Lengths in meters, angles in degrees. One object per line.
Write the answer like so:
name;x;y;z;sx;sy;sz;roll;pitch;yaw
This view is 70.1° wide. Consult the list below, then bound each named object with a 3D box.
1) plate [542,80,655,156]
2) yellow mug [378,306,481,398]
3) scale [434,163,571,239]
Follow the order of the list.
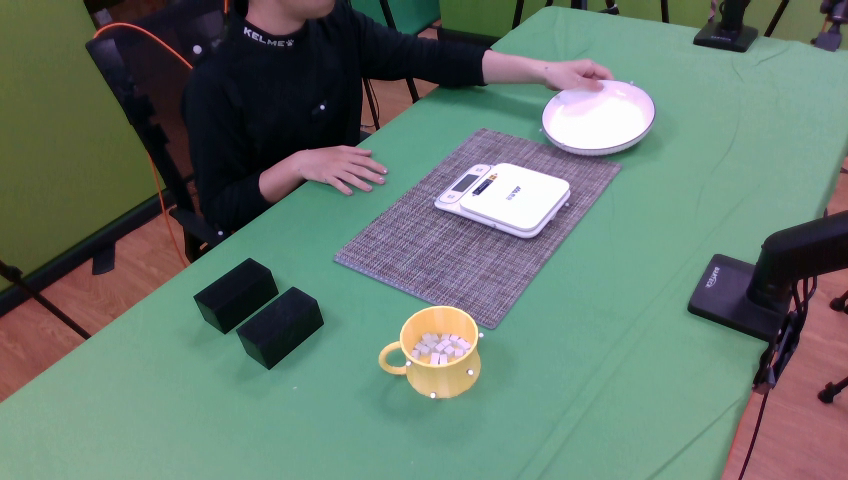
plate;0.332;-0.229;1.158;0.209;0.038;0.208;-8;48;9
yellow mug;0.006;0.144;0.766;0.131;0.064;0.099;-10;40;-2
scale;0.132;-0.075;1.025;0.199;0.032;0.149;22;48;30
